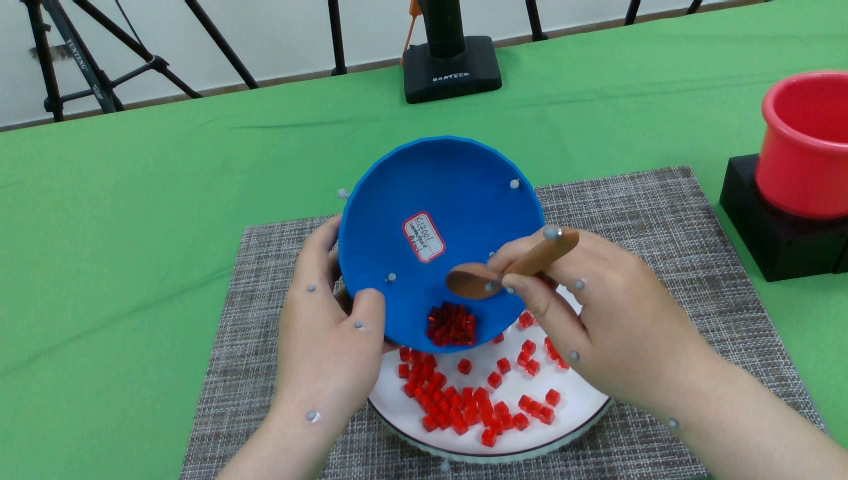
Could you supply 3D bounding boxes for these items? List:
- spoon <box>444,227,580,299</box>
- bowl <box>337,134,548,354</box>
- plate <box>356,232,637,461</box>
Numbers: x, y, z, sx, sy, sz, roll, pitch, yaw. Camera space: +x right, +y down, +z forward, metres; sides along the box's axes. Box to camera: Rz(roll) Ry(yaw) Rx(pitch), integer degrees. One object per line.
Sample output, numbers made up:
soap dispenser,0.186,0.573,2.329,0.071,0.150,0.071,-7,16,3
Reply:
spoon,0.049,0.019,0.361,0.042,0.194,0.021,18,79,-8
bowl,0.007,0.002,0.447,0.151,0.152,0.076,-25,10,-12
plate,0.053,0.074,0.465,0.207,0.039,0.205,-6,45,7
